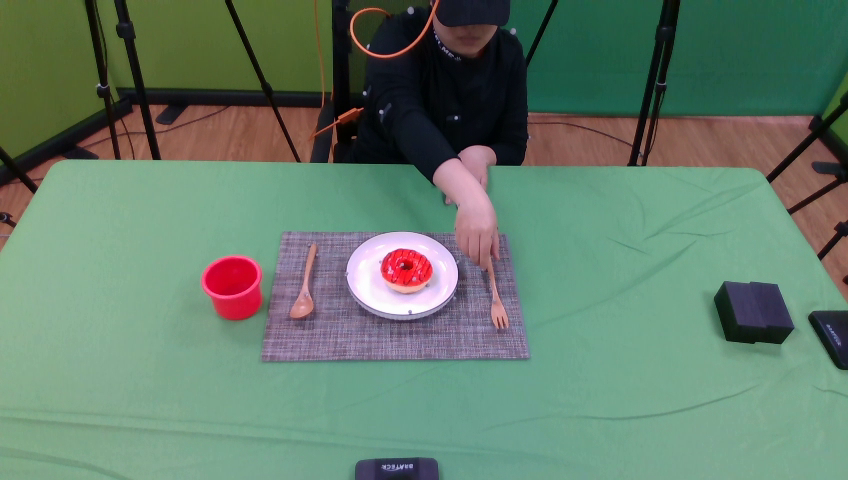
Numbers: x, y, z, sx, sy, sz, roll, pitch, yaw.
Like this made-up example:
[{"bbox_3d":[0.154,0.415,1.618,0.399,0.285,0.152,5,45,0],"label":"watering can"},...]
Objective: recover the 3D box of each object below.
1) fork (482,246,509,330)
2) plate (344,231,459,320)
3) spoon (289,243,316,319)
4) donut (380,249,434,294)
[{"bbox_3d":[0.128,0.084,1.125,0.028,0.019,0.206,-7,48,0],"label":"fork"},{"bbox_3d":[-0.042,0.068,1.115,0.209,0.038,0.208,2,46,-2],"label":"plate"},{"bbox_3d":[-0.215,0.071,1.108,0.041,0.022,0.192,-10,45,10],"label":"spoon"},{"bbox_3d":[-0.032,0.056,1.111,0.099,0.048,0.098,4,43,-3],"label":"donut"}]
